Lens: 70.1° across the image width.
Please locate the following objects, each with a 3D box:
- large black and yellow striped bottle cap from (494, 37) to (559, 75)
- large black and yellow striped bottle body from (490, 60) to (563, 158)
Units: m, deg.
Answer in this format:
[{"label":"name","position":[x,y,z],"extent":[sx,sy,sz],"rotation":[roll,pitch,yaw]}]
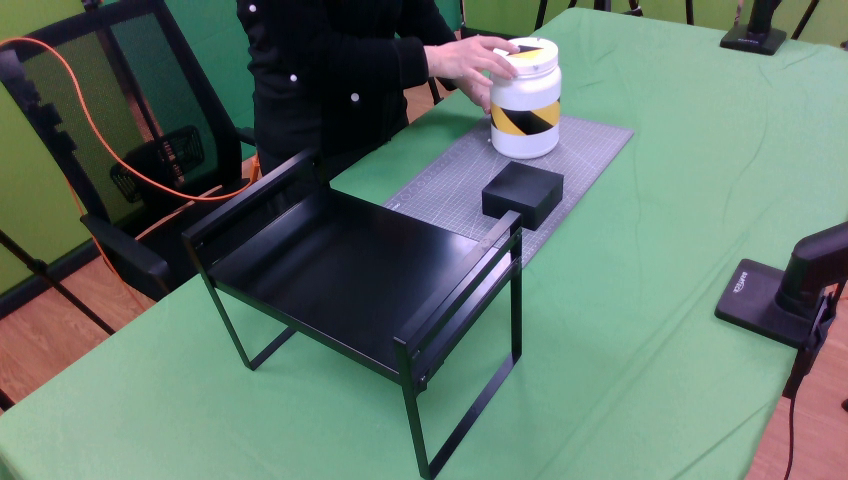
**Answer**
[{"label":"large black and yellow striped bottle cap","position":[0.181,-0.326,1.068],"extent":[0.115,0.019,0.114],"rotation":[-4,42,4]},{"label":"large black and yellow striped bottle body","position":[0.190,-0.261,1.123],"extent":[0.131,0.185,0.130],"rotation":[-5,41,5]}]
